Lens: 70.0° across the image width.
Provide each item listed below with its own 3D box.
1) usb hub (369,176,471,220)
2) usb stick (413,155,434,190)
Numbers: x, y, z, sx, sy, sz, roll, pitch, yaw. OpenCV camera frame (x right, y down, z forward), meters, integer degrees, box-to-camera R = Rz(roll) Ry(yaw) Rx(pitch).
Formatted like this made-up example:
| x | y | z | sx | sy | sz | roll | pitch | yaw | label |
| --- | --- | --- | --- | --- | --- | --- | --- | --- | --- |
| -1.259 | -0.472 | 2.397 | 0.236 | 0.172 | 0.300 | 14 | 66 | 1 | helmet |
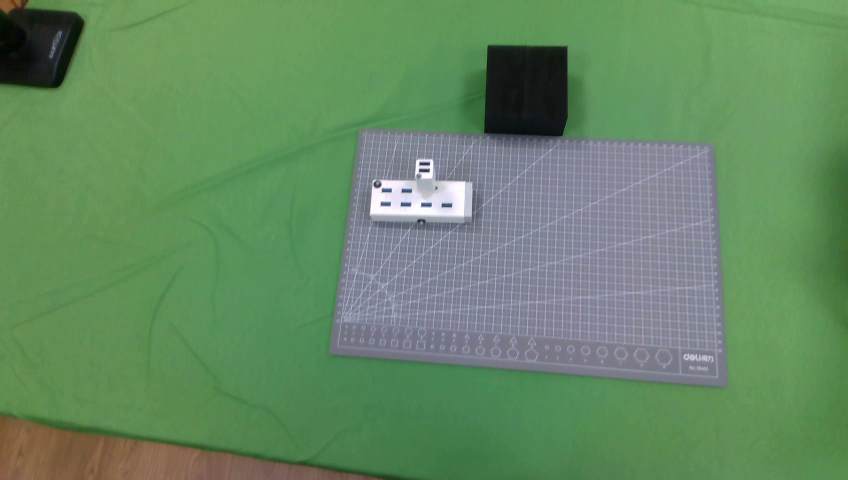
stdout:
| x | y | z | sx | sy | sz | roll | pitch | yaw | label |
| --- | --- | --- | --- | --- | --- | --- | --- | --- | --- |
| -0.004 | -0.052 | 0.747 | 0.125 | 0.025 | 0.049 | 1 | 72 | 4 | usb hub |
| 0.001 | -0.077 | 0.720 | 0.021 | 0.059 | 0.027 | -1 | 69 | 5 | usb stick |
